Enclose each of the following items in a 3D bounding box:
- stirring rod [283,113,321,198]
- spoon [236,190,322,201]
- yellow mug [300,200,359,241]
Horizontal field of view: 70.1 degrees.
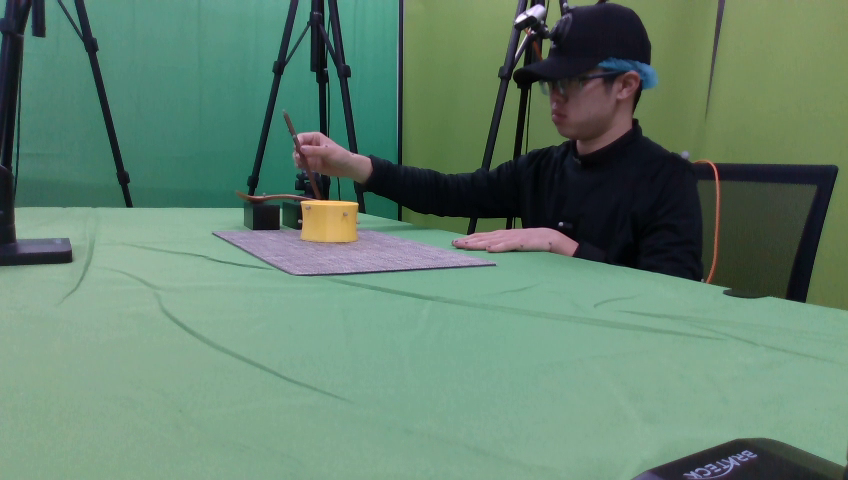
[{"bbox_3d":[-0.237,-0.163,1.175,0.006,0.176,0.014,-17,12,17],"label":"stirring rod"},{"bbox_3d":[-0.290,-0.088,1.248,0.195,0.021,0.041,0,6,-32],"label":"spoon"},{"bbox_3d":[-0.156,-0.036,1.060,0.099,0.064,0.131,6,7,27],"label":"yellow mug"}]
